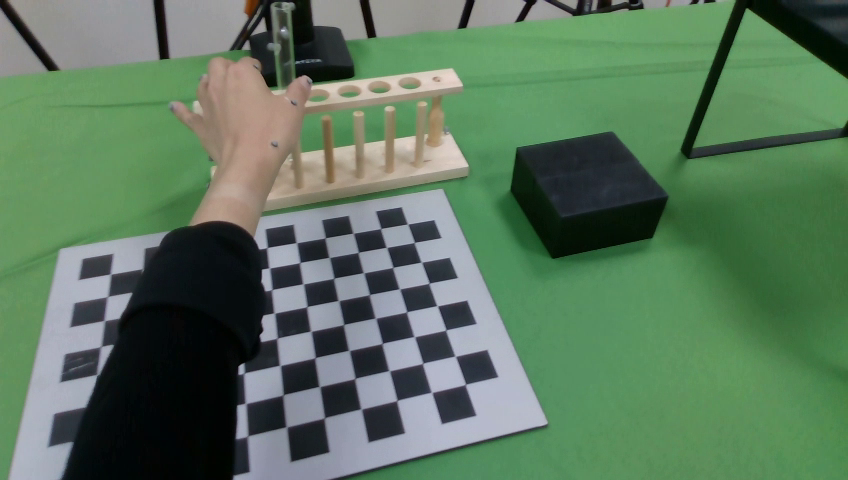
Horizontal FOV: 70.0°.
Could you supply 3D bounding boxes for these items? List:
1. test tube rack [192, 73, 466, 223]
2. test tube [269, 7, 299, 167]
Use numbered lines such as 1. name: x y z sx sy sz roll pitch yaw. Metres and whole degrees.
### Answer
1. test tube rack: -0.082 -0.090 0.574 0.243 0.086 0.066 -11 45 -13
2. test tube: -0.125 -0.131 0.544 0.017 0.151 0.017 3 39 -2
